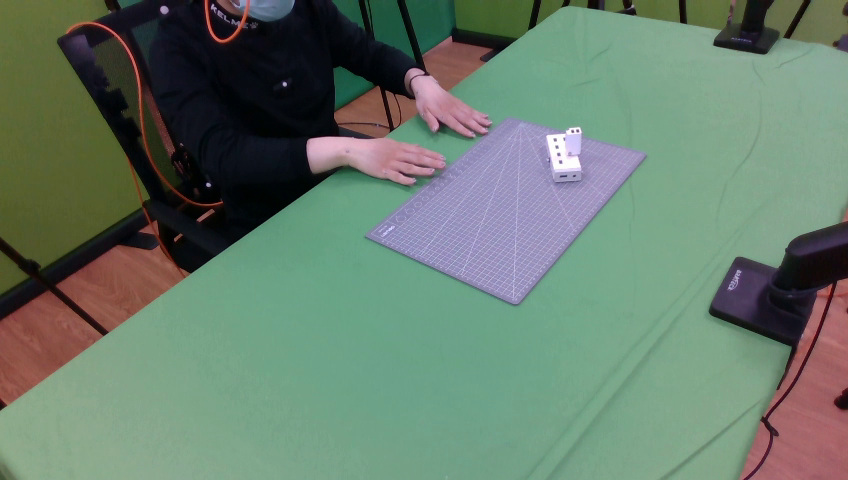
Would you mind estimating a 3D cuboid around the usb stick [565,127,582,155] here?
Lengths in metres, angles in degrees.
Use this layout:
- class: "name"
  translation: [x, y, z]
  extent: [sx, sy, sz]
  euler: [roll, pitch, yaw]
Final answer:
- class: "usb stick"
  translation: [0.266, -0.170, 1.077]
  extent: [0.027, 0.059, 0.021]
  euler: [-3, 40, 2]

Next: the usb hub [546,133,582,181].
- class: "usb hub"
  translation: [0.255, -0.153, 1.103]
  extent: [0.049, 0.025, 0.124]
  euler: [-3, 41, 5]
